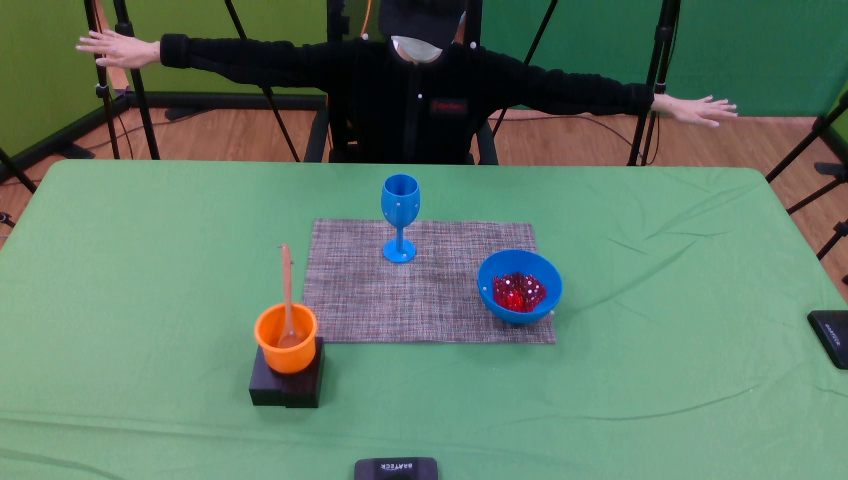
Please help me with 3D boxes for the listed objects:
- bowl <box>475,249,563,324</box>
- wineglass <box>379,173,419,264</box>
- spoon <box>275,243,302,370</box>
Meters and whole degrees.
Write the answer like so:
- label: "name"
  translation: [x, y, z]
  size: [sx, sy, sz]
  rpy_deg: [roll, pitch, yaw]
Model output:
- label: "bowl"
  translation: [0.163, 0.096, 1.074]
  size: [0.151, 0.077, 0.150]
  rpy_deg: [2, 46, -2]
- label: "wineglass"
  translation: [-0.046, -0.036, 1.120]
  size: [0.074, 0.173, 0.073]
  rpy_deg: [2, 46, -2]
- label: "spoon"
  translation: [-0.209, 0.101, 0.926]
  size: [0.041, 0.193, 0.021]
  rpy_deg: [-2, 2, -6]
